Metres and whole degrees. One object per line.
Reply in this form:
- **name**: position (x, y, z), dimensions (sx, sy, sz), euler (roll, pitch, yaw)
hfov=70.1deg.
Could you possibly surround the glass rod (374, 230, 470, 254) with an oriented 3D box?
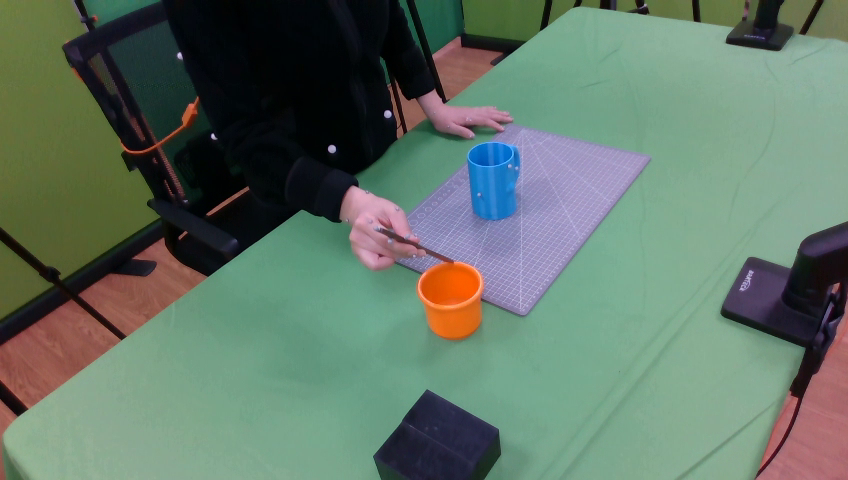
- **glass rod**: position (0.004, 0.004, 0.768), dimensions (0.008, 0.008, 0.201), euler (28, 9, 36)

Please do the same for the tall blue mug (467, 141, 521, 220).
- **tall blue mug**: position (0.119, -0.109, 1.020), dimensions (0.077, 0.108, 0.107), euler (3, 42, 15)
